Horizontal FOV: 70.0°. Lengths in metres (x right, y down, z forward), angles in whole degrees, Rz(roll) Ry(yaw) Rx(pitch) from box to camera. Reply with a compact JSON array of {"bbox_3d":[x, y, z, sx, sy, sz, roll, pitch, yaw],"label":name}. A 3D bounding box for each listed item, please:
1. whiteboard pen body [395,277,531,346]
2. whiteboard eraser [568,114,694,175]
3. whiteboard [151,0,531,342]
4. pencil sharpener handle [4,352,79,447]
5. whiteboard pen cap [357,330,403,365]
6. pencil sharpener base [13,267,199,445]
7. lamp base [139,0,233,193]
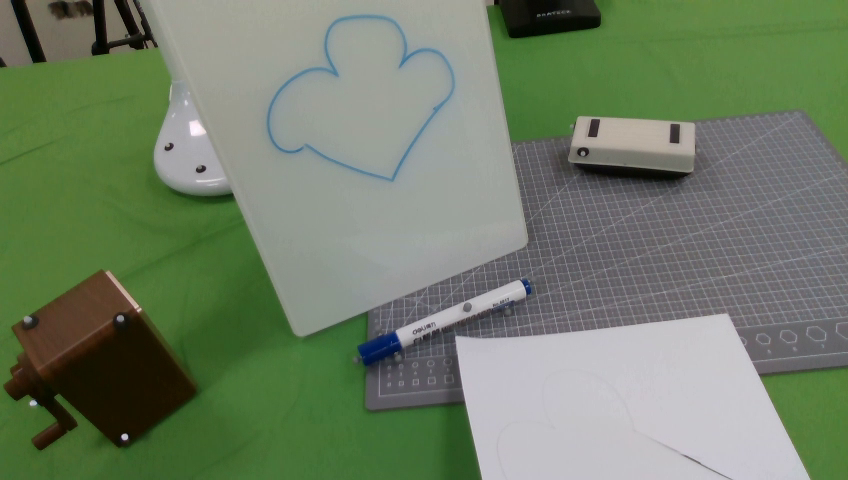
[{"bbox_3d":[0.020,0.060,0.476,0.141,0.017,0.017,-21,47,-11],"label":"whiteboard pen body"},{"bbox_3d":[0.198,-0.091,0.582,0.112,0.042,0.055,8,49,15],"label":"whiteboard eraser"},{"bbox_3d":[-0.061,-0.112,0.500,0.217,0.308,0.142,-21,28,-11],"label":"whiteboard"},{"bbox_3d":[-0.259,0.108,0.400,0.030,0.068,0.035,-39,40,-25],"label":"pencil sharpener handle"},{"bbox_3d":[-0.033,0.082,0.465,0.033,0.018,0.018,-22,47,-11],"label":"whiteboard pen cap"},{"bbox_3d":[-0.224,0.086,0.433,0.076,0.108,0.061,-39,53,-25],"label":"pencil sharpener base"},{"bbox_3d":[-0.235,-0.165,0.622,0.177,0.182,0.160,26,55,32],"label":"lamp base"}]
